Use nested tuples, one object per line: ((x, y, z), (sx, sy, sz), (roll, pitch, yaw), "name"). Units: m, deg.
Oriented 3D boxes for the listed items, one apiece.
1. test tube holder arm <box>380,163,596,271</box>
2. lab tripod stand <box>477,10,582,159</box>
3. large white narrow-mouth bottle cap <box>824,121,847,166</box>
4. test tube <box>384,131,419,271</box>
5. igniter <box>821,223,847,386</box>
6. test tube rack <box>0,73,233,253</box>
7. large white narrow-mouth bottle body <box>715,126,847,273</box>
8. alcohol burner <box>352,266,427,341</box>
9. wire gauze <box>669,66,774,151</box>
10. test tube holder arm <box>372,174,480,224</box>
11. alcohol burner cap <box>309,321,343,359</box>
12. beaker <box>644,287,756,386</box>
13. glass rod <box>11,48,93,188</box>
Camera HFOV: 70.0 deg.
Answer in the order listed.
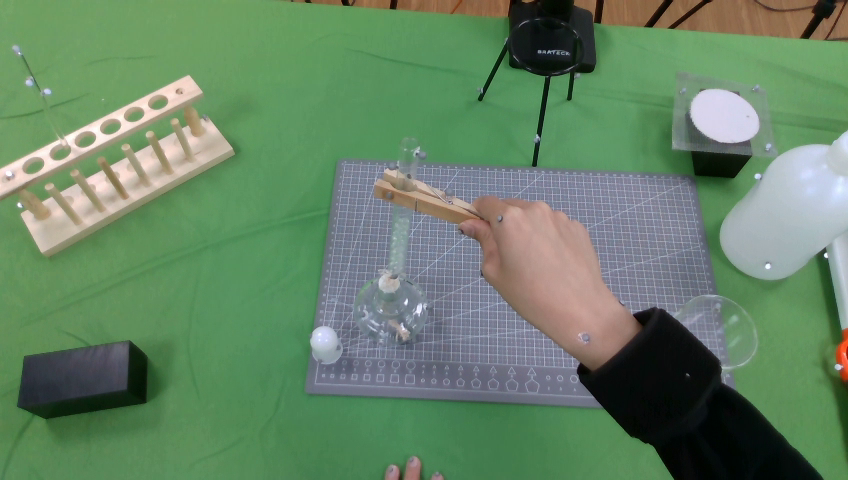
((0.045, -0.019, 0.460), (0.177, 0.015, 0.013), (24, 55, 13), "test tube holder arm")
((0.137, -0.197, 0.746), (0.148, 0.132, 0.147), (1, 63, -2), "lab tripod stand")
((0.397, -0.090, 0.565), (0.038, 0.024, 0.037), (1, 62, -1), "large white narrow-mouth bottle cap")
((-0.020, -0.025, 0.492), (0.017, 0.151, 0.017), (5, 48, -5), "test tube")
((0.468, 0.100, 0.658), (0.057, 0.025, 0.274), (12, 62, -6), "igniter")
((-0.355, -0.091, 0.701), (0.242, 0.086, 0.066), (-34, 68, -18), "test tube rack")
((0.395, -0.048, 0.639), (0.102, 0.196, 0.101), (1, 61, -1), "large white narrow-mouth bottle body")
((-0.035, 0.057, 0.614), (0.078, 0.120, 0.077), (2, 61, -3), "alcohol burner")
((0.365, -0.162, 0.749), (0.121, 0.011, 0.124), (10, 62, 4), "wire gauze")
((0.002, -0.031, 0.466), (0.087, 0.015, 0.010), (18, 53, 9), "test tube holder arm")
((-0.104, 0.102, 0.628), (0.034, 0.048, 0.033), (0, 63, 1), "alcohol burner cap")
((0.268, 0.100, 0.608), (0.084, 0.101, 0.073), (8, 61, 4), "beaker")
((-0.388, -0.118, 0.640), (0.008, 0.201, 0.008), (3, 53, -4), "glass rod")
